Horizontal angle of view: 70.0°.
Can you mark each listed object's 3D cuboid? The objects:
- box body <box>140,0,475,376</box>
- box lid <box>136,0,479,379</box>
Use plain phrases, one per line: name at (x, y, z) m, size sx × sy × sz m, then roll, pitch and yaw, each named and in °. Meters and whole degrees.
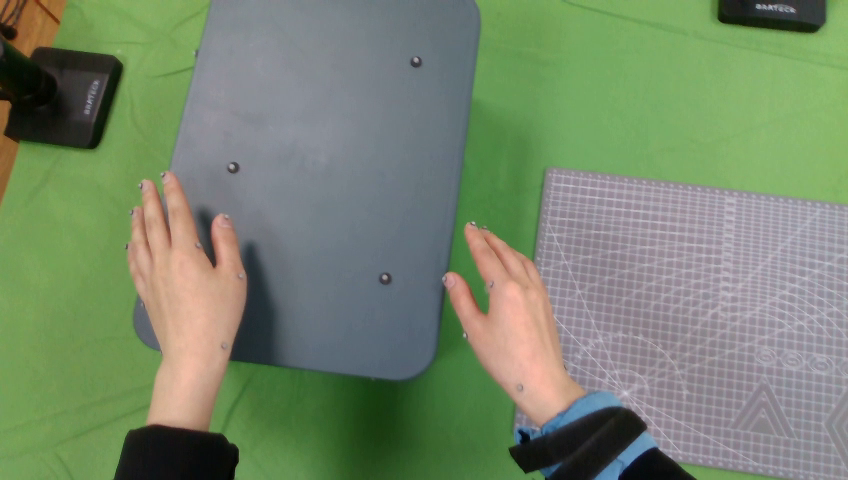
box body at (-0.094, -0.056, 0.617) m, size 0.254 × 0.161 × 0.362 m, roll 7°, pitch 77°, yaw 4°
box lid at (-0.097, -0.076, 0.545) m, size 0.263 × 0.015 × 0.370 m, roll 7°, pitch 78°, yaw 4°
